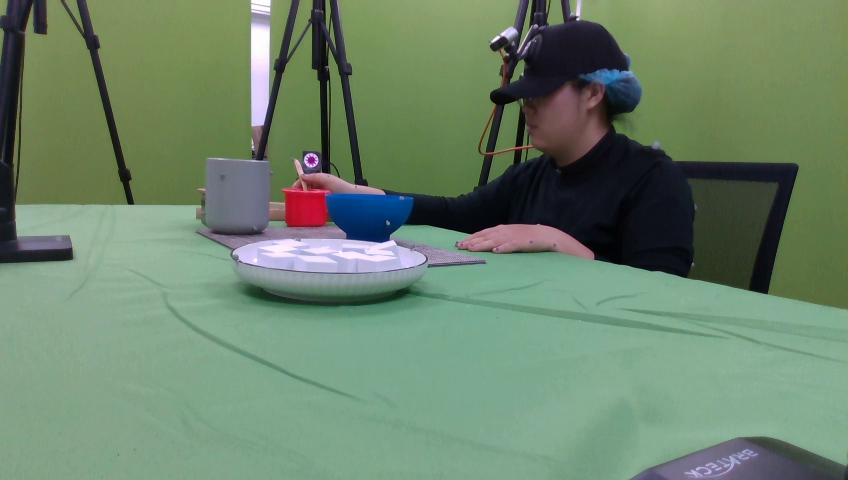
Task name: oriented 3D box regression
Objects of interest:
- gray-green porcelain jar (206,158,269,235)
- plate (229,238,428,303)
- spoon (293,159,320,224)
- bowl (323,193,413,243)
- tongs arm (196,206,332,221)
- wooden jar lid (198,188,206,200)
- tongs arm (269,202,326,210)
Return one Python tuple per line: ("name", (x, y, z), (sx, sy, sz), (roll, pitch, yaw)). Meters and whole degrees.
("gray-green porcelain jar", (-0.323, -0.076, 1.048), (0.106, 0.126, 0.106), (3, 7, 0))
("plate", (-0.099, 0.032, 0.651), (0.209, 0.038, 0.209), (3, 8, 0))
("spoon", (-0.248, -0.103, 1.250), (0.042, 0.193, 0.021), (6, -41, -31))
("bowl", (-0.094, -0.036, 1.015), (0.151, 0.077, 0.151), (3, 7, 0))
("tongs arm", (-0.294, -0.058, 1.330), (0.389, 0.028, 0.028), (1, 5, -20))
("wooden jar lid", (-0.382, -0.088, 1.175), (0.108, 0.020, 0.108), (3, 8, 0))
("tongs arm", (-0.308, -0.072, 1.410), (0.386, 0.026, 0.050), (3, 8, -6))
